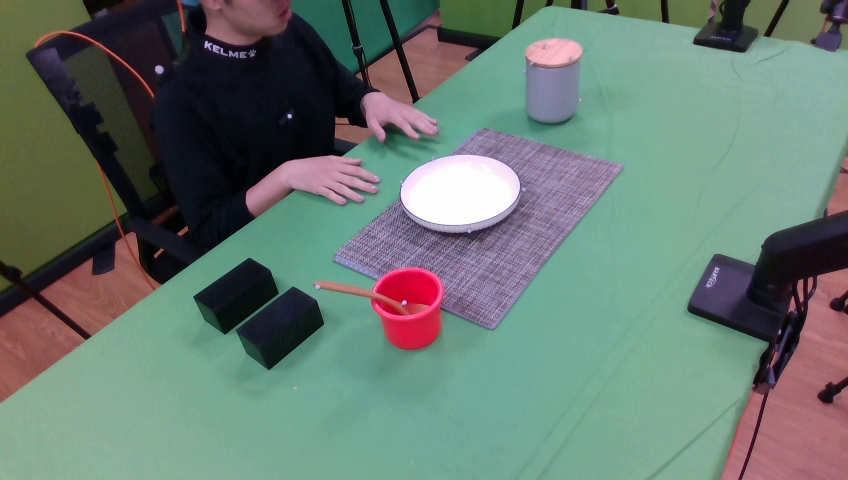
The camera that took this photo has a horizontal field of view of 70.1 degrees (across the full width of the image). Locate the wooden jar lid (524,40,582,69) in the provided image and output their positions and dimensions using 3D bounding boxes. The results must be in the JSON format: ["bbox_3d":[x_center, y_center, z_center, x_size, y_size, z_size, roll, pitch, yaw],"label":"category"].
[{"bbox_3d":[0.249,-0.354,1.167,0.108,0.021,0.108,-4,44,5],"label":"wooden jar lid"}]

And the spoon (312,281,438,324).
[{"bbox_3d":[-0.060,0.078,0.793,0.195,0.021,0.041,24,25,-35],"label":"spoon"}]

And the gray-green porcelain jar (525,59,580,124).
[{"bbox_3d":[0.256,-0.305,1.209,0.106,0.127,0.105,-4,41,4],"label":"gray-green porcelain jar"}]

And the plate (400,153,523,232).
[{"bbox_3d":[0.065,-0.078,1.034,0.207,0.039,0.206,-4,41,4],"label":"plate"}]
